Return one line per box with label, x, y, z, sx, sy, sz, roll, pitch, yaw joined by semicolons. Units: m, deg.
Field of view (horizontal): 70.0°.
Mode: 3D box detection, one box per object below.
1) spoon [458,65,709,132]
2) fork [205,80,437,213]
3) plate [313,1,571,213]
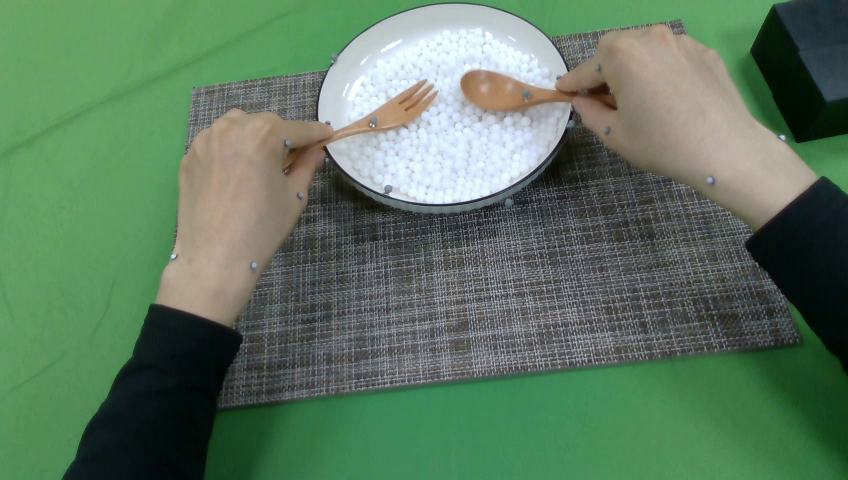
spoon;0.117;-0.107;0.467;0.192;0.022;0.041;15;61;23
fork;-0.077;-0.076;0.479;0.207;0.019;0.028;-30;62;-18
plate;0.014;-0.110;0.501;0.209;0.038;0.207;-3;64;6
